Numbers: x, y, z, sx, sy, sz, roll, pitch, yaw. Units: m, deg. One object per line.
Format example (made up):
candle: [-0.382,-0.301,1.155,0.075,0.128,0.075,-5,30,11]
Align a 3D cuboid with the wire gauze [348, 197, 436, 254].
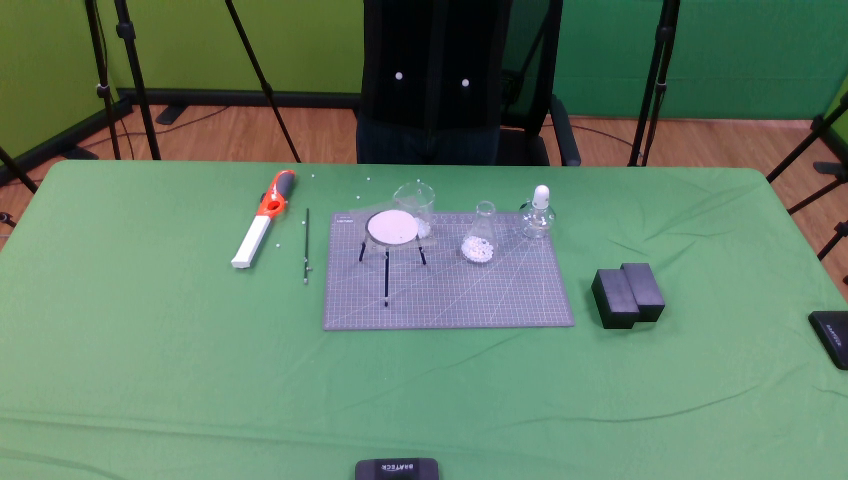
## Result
wire gauze: [-0.056,-0.026,1.045,0.125,0.011,0.120,-12,46,-17]

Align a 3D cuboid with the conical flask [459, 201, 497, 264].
conical flask: [0.109,-0.018,1.153,0.075,0.122,0.075,2,46,-2]

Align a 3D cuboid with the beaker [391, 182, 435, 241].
beaker: [-0.023,-0.053,1.192,0.084,0.101,0.073,-2,46,-5]

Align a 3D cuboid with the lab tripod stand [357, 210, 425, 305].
lab tripod stand: [-0.060,0.020,1.094,0.148,0.132,0.147,3,44,-2]

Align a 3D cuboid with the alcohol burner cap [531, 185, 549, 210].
alcohol burner cap: [0.228,-0.085,1.183,0.034,0.048,0.033,-1,48,2]

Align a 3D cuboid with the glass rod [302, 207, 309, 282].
glass rod: [-0.231,0.004,1.187,0.008,0.008,0.198,-2,47,-6]

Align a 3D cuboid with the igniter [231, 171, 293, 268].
igniter: [-0.321,-0.051,1.220,0.057,0.025,0.275,2,45,11]

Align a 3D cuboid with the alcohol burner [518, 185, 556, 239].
alcohol burner: [0.227,-0.061,1.210,0.078,0.120,0.077,1,44,-1]
